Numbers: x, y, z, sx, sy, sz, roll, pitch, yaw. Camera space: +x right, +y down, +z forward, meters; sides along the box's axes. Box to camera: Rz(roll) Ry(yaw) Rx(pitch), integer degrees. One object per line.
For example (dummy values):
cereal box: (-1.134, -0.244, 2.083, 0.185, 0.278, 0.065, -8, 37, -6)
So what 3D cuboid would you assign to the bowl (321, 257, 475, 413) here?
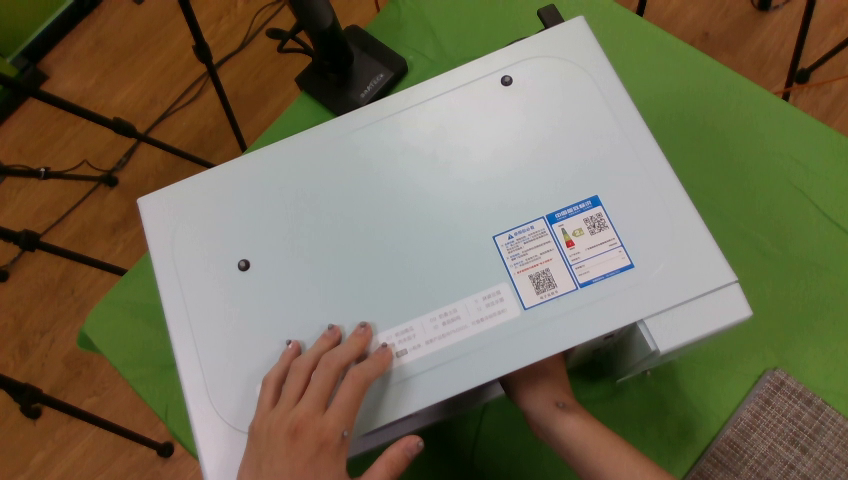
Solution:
bowl: (-0.026, 0.099, 0.622, 0.151, 0.077, 0.150, 1, 76, -2)

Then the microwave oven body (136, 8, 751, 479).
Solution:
microwave oven body: (0.006, 0.030, 0.617, 0.442, 0.262, 0.323, -23, 71, 1)

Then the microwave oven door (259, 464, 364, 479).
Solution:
microwave oven door: (0.023, 0.270, 0.531, 0.355, 0.245, 0.039, 12, 75, 11)

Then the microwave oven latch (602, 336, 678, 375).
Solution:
microwave oven latch: (0.237, 0.120, 0.659, 0.079, 0.030, 0.030, -21, 71, 1)
